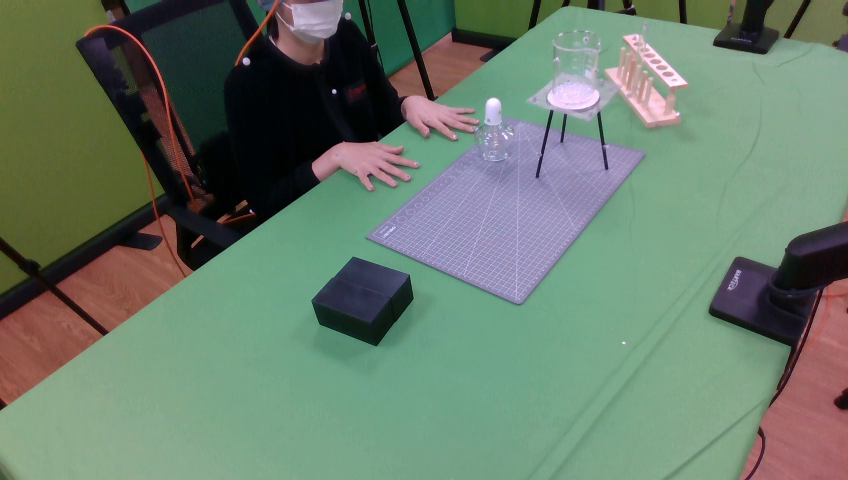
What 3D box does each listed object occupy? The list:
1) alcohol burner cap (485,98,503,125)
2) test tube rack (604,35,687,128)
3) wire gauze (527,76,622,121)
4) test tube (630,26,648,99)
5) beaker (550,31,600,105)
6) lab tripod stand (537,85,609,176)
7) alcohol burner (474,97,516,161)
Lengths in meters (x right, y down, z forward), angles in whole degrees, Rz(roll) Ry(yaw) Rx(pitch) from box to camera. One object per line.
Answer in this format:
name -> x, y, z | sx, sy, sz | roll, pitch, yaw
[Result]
alcohol burner cap -> 0.126, -0.234, 1.097 | 0.034, 0.048, 0.033 | -3, 39, 3
test tube rack -> 0.447, -0.330, 1.242 | 0.067, 0.085, 0.241 | -9, 41, -2
wire gauze -> 0.255, -0.247, 1.031 | 0.124, 0.011, 0.122 | 23, 49, 34
test tube -> 0.426, -0.350, 1.199 | 0.017, 0.151, 0.017 | -4, 42, 4
beaker -> 0.250, -0.281, 0.996 | 0.074, 0.101, 0.083 | -37, 49, -27
lab tripod stand -> 0.259, -0.192, 1.068 | 0.148, 0.132, 0.147 | -4, 43, 4
alcohol burner -> 0.131, -0.208, 1.121 | 0.078, 0.119, 0.077 | -6, 40, 5
